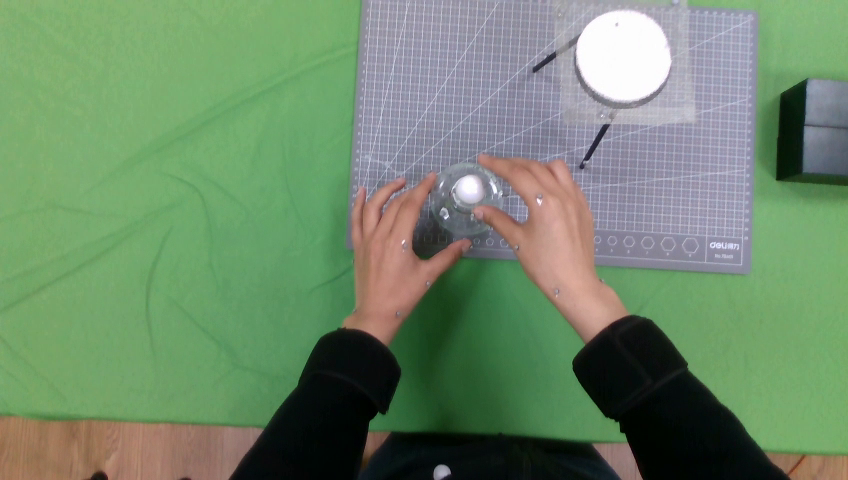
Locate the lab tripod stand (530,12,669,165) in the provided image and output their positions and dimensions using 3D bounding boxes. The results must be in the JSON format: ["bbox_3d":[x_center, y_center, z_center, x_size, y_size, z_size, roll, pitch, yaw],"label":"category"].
[{"bbox_3d":[0.183,-0.164,0.617,0.148,0.131,0.148,0,84,0],"label":"lab tripod stand"}]

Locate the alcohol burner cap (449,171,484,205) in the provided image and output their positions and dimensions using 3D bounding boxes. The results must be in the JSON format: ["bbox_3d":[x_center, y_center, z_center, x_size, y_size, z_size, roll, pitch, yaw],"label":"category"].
[{"bbox_3d":[0.042,-0.052,0.584,0.034,0.048,0.034,0,89,-2],"label":"alcohol burner cap"}]

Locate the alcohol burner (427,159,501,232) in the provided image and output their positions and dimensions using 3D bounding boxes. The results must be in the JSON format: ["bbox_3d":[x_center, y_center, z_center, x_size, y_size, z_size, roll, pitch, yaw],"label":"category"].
[{"bbox_3d":[0.043,-0.049,0.620,0.078,0.119,0.077,0,85,-2],"label":"alcohol burner"}]

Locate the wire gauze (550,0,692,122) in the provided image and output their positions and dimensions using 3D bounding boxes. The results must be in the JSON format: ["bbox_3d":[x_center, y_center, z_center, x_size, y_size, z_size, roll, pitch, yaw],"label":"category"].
[{"bbox_3d":[0.180,-0.167,0.551,0.125,0.011,0.121,-2,87,-1],"label":"wire gauze"}]
